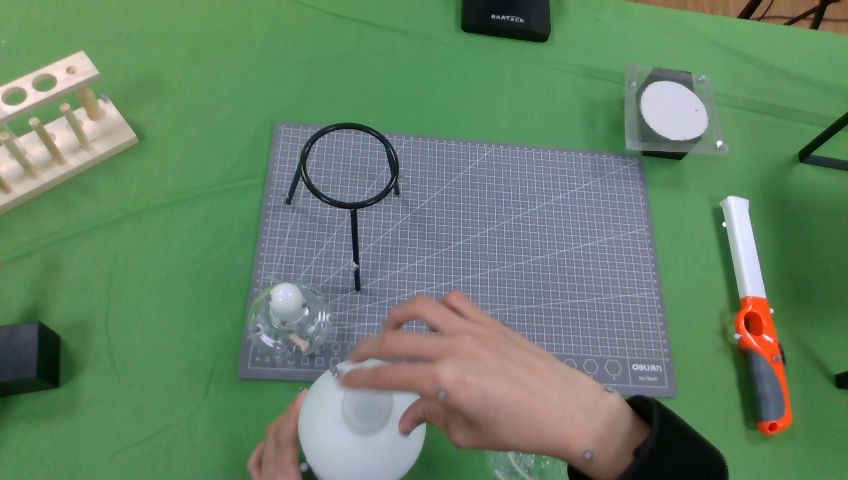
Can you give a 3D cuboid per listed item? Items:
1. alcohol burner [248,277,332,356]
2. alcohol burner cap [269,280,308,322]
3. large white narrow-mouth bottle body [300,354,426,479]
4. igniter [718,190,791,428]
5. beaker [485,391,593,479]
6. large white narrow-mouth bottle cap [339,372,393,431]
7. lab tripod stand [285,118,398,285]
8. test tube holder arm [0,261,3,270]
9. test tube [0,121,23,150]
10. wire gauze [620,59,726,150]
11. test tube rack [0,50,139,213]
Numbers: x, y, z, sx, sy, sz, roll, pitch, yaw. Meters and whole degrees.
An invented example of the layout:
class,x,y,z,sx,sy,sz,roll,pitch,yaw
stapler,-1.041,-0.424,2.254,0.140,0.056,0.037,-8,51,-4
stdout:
class,x,y,z,sx,sy,sz,roll,pitch,yaw
alcohol burner,-0.124,0.065,0.560,0.078,0.119,0.077,4,64,-8
alcohol burner cap,-0.119,0.052,0.527,0.034,0.048,0.033,2,71,-6
large white narrow-mouth bottle body,-0.050,0.148,0.494,0.102,0.195,0.101,3,65,-6
igniter,0.369,0.070,0.682,0.057,0.025,0.274,9,65,-16
beaker,0.097,0.182,0.553,0.084,0.101,0.073,30,65,7
large white narrow-mouth bottle cap,-0.040,0.110,0.412,0.038,0.024,0.037,3,66,-6
lab tripod stand,-0.074,-0.044,0.605,0.149,0.132,0.147,4,67,-9
test tube holder arm,-0.390,0.057,0.527,0.010,0.015,0.087,7,65,-5
test tube,-0.414,-0.131,0.567,0.017,0.151,0.017,4,61,-7
wire gauze,0.297,-0.162,0.731,0.122,0.011,0.124,6,66,-6
test tube rack,-0.423,-0.087,0.601,0.242,0.085,0.066,-35,75,-21
